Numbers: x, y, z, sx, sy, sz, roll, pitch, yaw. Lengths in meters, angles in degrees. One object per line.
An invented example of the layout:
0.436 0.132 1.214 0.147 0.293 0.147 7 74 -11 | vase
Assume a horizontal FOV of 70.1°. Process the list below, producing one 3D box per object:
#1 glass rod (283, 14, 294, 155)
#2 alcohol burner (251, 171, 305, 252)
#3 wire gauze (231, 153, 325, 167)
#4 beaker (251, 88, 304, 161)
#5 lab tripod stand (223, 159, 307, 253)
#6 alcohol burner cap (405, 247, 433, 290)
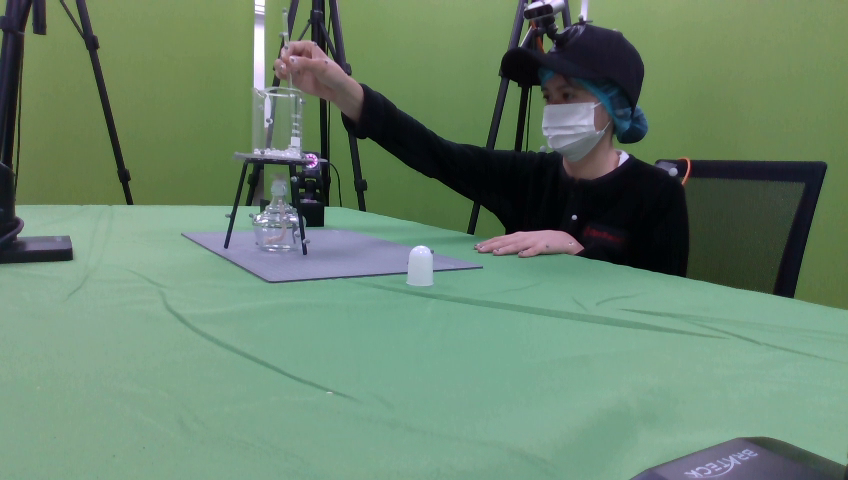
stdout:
-0.196 -0.224 0.874 0.008 0.199 0.008 -2 5 0 | glass rod
-0.214 -0.042 0.888 0.078 0.119 0.078 2 9 0 | alcohol burner
-0.215 -0.117 0.882 0.125 0.011 0.121 3 7 -19 | wire gauze
-0.214 -0.165 0.874 0.074 0.100 0.084 4 6 16 | beaker
-0.220 -0.053 0.896 0.148 0.131 0.148 1 6 0 | lab tripod stand
-0.005 0.031 0.698 0.034 0.048 0.034 3 8 0 | alcohol burner cap
